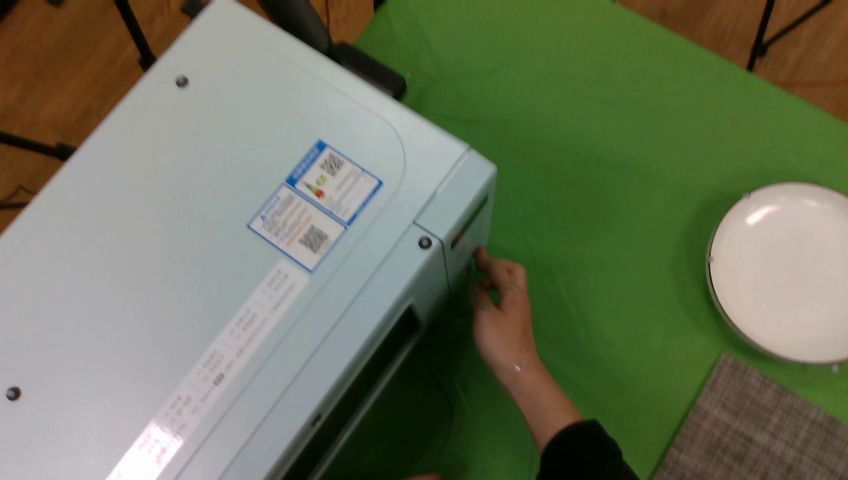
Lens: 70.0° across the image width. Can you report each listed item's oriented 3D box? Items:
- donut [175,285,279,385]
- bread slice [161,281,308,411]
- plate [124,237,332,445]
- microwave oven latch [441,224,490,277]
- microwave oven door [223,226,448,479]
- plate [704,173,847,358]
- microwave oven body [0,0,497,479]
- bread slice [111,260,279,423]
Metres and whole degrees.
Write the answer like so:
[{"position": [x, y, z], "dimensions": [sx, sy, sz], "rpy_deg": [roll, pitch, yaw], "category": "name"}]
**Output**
[{"position": [-0.192, 0.093, 0.597], "dimensions": [0.099, 0.048, 0.098], "rpy_deg": [3, 74, -9], "category": "donut"}, {"position": [-0.204, 0.116, 0.640], "dimensions": [0.131, 0.019, 0.104], "rpy_deg": [-34, 78, -27], "category": "bread slice"}, {"position": [-0.197, 0.101, 0.624], "dimensions": [0.209, 0.038, 0.208], "rpy_deg": [0, 78, 0], "category": "plate"}, {"position": [0.040, 0.007, 0.684], "dimensions": [0.079, 0.029, 0.030], "rpy_deg": [-43, 78, -7], "category": "microwave oven latch"}, {"position": [-0.095, 0.160, 0.549], "dimensions": [0.039, 0.245, 0.355], "rpy_deg": [34, 80, 12], "category": "microwave oven door"}, {"position": [0.415, 0.028, 0.676], "dimensions": [0.207, 0.039, 0.206], "rpy_deg": [-1, 76, 3], "category": "plate"}, {"position": [-0.188, 0.048, 0.588], "dimensions": [0.325, 0.261, 0.441], "rpy_deg": [34, 81, 11], "category": "microwave oven body"}, {"position": [-0.207, 0.085, 0.573], "dimensions": [0.107, 0.018, 0.134], "rpy_deg": [44, 74, 2], "category": "bread slice"}]
